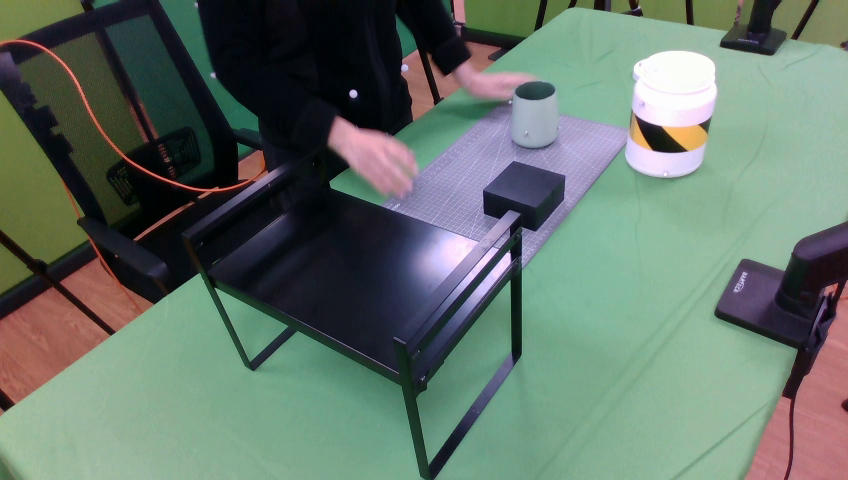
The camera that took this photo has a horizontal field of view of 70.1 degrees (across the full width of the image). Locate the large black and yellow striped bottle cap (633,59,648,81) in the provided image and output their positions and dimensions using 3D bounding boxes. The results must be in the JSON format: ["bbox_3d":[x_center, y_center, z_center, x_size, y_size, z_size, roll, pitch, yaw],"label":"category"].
[{"bbox_3d":[0.521,-0.370,1.332,0.115,0.019,0.114,-3,41,4],"label":"large black and yellow striped bottle cap"}]

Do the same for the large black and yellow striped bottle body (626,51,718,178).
[{"bbox_3d":[0.423,-0.214,1.038,0.131,0.185,0.130,-4,41,4],"label":"large black and yellow striped bottle body"}]

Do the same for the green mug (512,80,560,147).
[{"bbox_3d":[0.217,-0.251,1.168,0.092,0.105,0.125,1,42,11],"label":"green mug"}]
